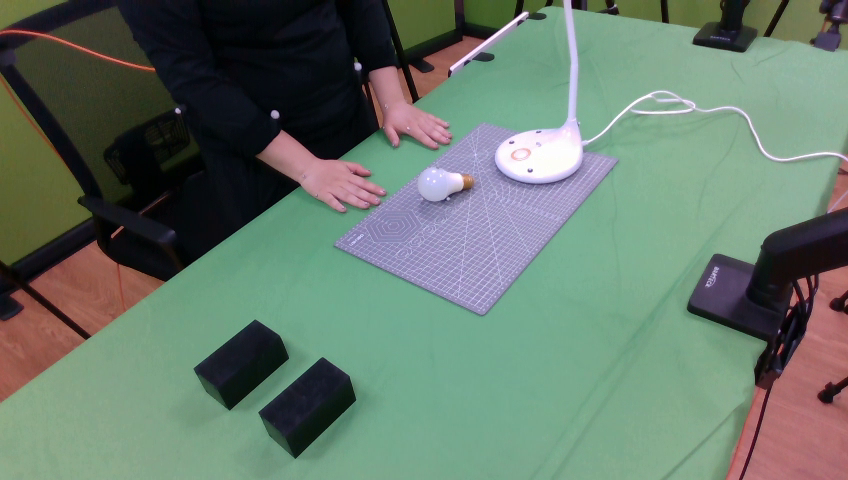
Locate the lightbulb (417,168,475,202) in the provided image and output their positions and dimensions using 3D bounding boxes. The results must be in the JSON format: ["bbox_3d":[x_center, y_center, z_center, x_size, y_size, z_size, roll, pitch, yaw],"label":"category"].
[{"bbox_3d":[0.040,-0.097,1.055,0.108,0.059,0.059,-7,37,-25],"label":"lightbulb"}]

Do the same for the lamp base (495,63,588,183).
[{"bbox_3d":[0.215,-0.217,1.067,0.180,0.181,0.159,-19,42,-18],"label":"lamp base"}]
